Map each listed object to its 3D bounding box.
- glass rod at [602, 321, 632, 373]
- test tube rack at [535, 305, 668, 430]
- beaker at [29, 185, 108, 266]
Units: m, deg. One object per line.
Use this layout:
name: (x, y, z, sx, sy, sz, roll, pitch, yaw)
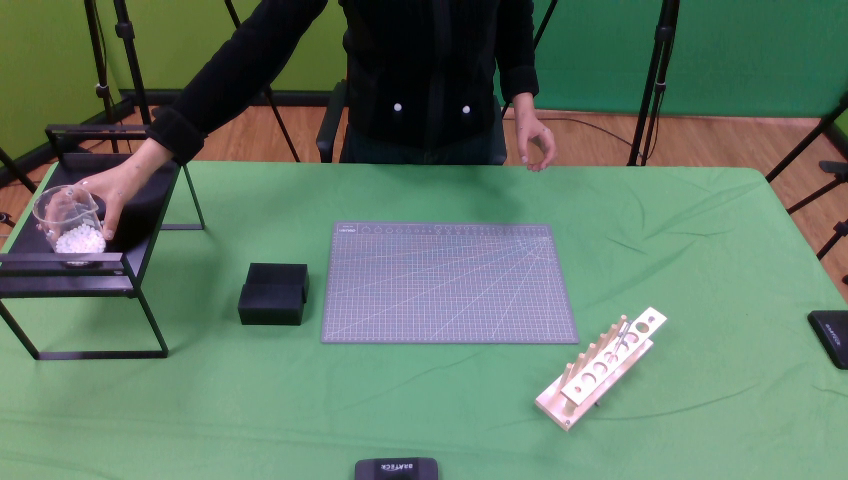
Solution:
glass rod: (0.286, 0.173, 0.913, 0.008, 0.201, 0.008, -1, 53, 1)
test tube rack: (0.290, 0.193, 0.984, 0.242, 0.085, 0.066, -32, 57, -30)
beaker: (-0.500, -0.018, 0.867, 0.084, 0.101, 0.073, 2, 49, -8)
